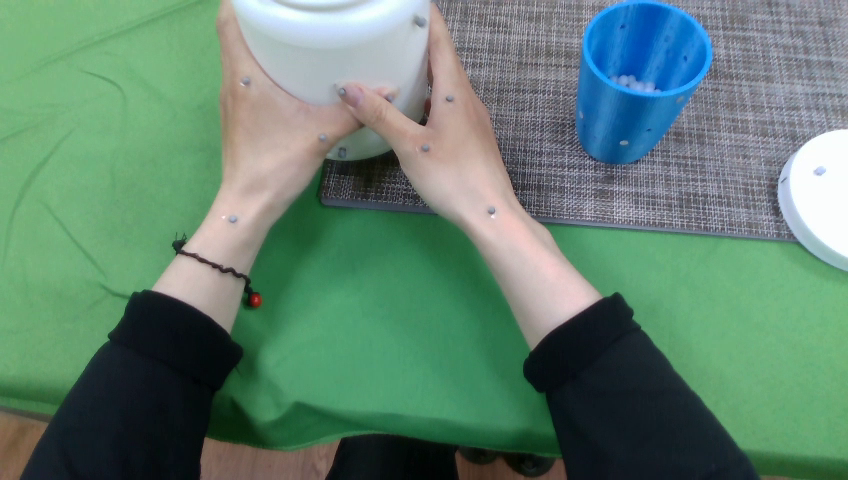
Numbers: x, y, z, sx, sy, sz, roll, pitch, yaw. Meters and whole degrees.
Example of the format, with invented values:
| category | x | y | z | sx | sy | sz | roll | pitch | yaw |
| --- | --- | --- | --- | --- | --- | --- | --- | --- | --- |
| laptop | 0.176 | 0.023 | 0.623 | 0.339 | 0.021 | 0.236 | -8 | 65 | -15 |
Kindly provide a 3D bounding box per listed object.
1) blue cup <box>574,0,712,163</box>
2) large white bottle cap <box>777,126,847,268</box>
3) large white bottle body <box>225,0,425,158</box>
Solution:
| category | x | y | z | sx | sy | sz | roll | pitch | yaw |
| --- | --- | --- | --- | --- | --- | --- | --- | --- | --- |
| blue cup | 0.150 | -0.108 | 0.445 | 0.092 | 0.101 | 0.092 | -2 | 64 | 3 |
| large white bottle cap | 0.325 | -0.033 | 0.451 | 0.115 | 0.018 | 0.114 | 0 | 69 | 0 |
| large white bottle body | -0.065 | -0.157 | 0.426 | 0.130 | 0.186 | 0.129 | 0 | 67 | 0 |
